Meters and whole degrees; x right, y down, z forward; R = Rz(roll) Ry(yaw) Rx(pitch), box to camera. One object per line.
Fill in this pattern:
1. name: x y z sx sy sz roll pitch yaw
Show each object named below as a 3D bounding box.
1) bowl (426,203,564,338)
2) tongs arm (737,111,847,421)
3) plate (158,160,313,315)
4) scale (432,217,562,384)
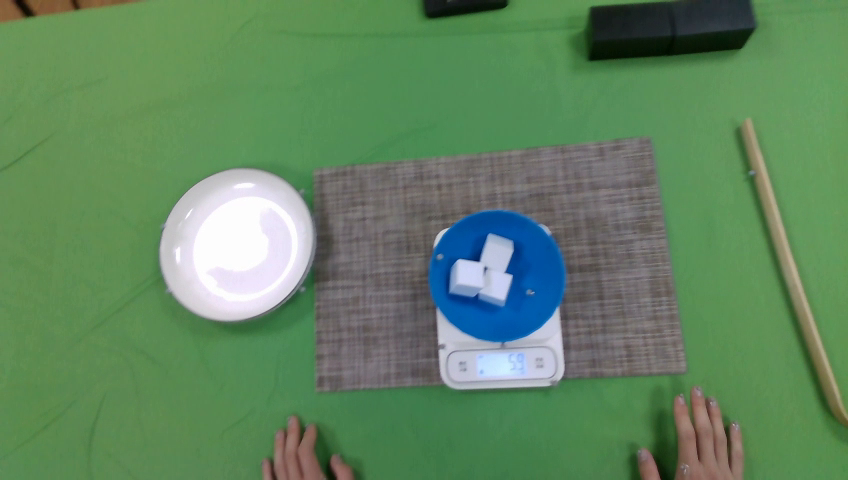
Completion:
1. bowl: 0.080 0.040 0.696 0.151 0.077 0.150 -1 77 5
2. tongs arm: 0.438 0.023 0.720 0.028 0.028 0.385 -11 76 3
3. plate: -0.245 -0.002 0.799 0.207 0.039 0.206 -1 77 6
4. scale: 0.087 0.071 0.742 0.148 0.032 0.200 -4 77 6
